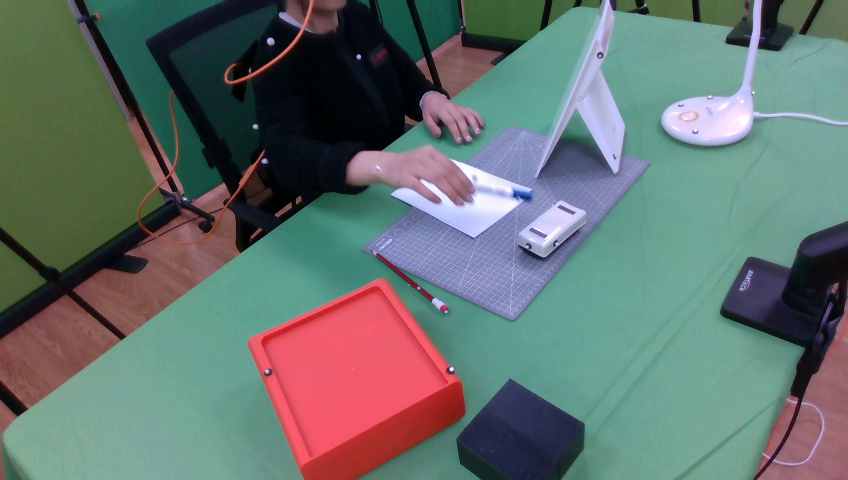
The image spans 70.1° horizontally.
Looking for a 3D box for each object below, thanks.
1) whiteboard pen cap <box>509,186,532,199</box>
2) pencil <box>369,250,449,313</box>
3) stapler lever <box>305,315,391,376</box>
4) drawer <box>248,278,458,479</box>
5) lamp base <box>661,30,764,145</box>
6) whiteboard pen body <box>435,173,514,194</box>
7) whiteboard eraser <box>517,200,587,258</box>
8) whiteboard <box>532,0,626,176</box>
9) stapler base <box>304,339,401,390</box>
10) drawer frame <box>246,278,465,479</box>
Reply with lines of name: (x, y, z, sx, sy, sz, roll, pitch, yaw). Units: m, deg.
whiteboard pen cap: (0.141, -0.071, 0.894, 0.033, 0.018, 0.018, 9, 40, -9)
pencil: (-0.028, 0.059, 0.924, 0.012, 0.012, 0.192, -33, 46, -25)
stapler lever: (-0.100, 0.136, 0.790, 0.118, 0.040, 0.026, -23, 43, -12)
drawer: (-0.092, 0.168, 0.756, 0.195, 0.073, 0.210, -23, 43, -18)
lamp base: (0.535, -0.287, 1.096, 0.179, 0.181, 0.159, -10, 40, -4)
whiteboard pen body: (0.085, -0.081, 0.884, 0.141, 0.017, 0.017, 7, 39, -10)
whiteboard eraser: (0.201, -0.016, 0.943, 0.113, 0.042, 0.055, -37, 46, -29)
whiteboard: (0.321, -0.258, 1.049, 0.144, 0.306, 0.217, 21, 45, 5)
stapler base: (-0.096, 0.160, 0.813, 0.131, 0.024, 0.041, -16, 42, -18)
drawer frame: (-0.088, 0.168, 0.752, 0.202, 0.083, 0.211, -24, 43, -18)
